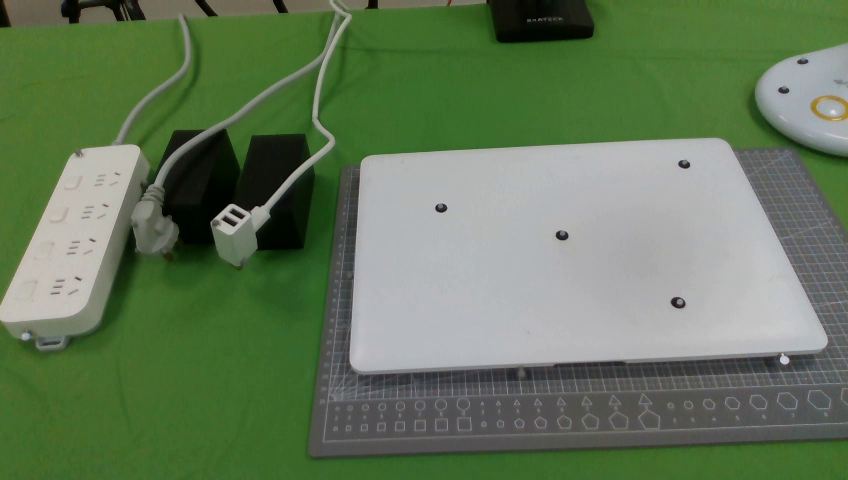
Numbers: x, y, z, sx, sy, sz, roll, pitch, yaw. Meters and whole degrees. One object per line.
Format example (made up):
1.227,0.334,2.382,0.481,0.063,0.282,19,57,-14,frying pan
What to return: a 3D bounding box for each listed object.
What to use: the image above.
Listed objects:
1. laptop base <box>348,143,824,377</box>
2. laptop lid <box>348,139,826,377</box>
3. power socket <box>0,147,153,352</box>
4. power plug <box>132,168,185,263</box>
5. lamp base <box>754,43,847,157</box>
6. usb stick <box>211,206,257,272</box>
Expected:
0.117,0.007,0.520,0.354,0.023,0.233,-3,52,0,laptop base
0.116,0.001,0.509,0.357,0.013,0.239,-2,51,1,laptop lid
-0.302,-0.005,0.540,0.072,0.033,0.224,-4,48,-2,power socket
-0.217,-0.017,0.516,0.035,0.053,0.072,17,67,24,power plug
0.432,-0.199,0.580,0.159,0.182,0.179,28,53,25,lamp base
-0.150,0.002,0.483,0.021,0.059,0.027,27,53,12,usb stick
